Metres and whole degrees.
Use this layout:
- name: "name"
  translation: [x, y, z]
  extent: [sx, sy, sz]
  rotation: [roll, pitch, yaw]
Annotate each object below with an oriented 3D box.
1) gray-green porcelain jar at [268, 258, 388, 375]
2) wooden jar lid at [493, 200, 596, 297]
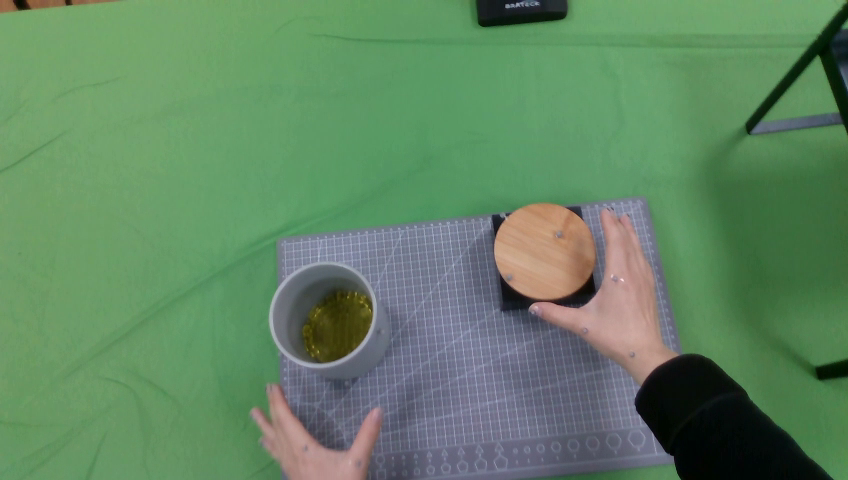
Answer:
- name: "gray-green porcelain jar"
  translation: [-0.094, 0.086, 0.638]
  extent: [0.106, 0.127, 0.105]
  rotation: [-1, 72, 3]
- name: "wooden jar lid"
  translation: [0.129, 0.010, 0.653]
  extent: [0.108, 0.021, 0.107]
  rotation: [-1, 73, 4]
